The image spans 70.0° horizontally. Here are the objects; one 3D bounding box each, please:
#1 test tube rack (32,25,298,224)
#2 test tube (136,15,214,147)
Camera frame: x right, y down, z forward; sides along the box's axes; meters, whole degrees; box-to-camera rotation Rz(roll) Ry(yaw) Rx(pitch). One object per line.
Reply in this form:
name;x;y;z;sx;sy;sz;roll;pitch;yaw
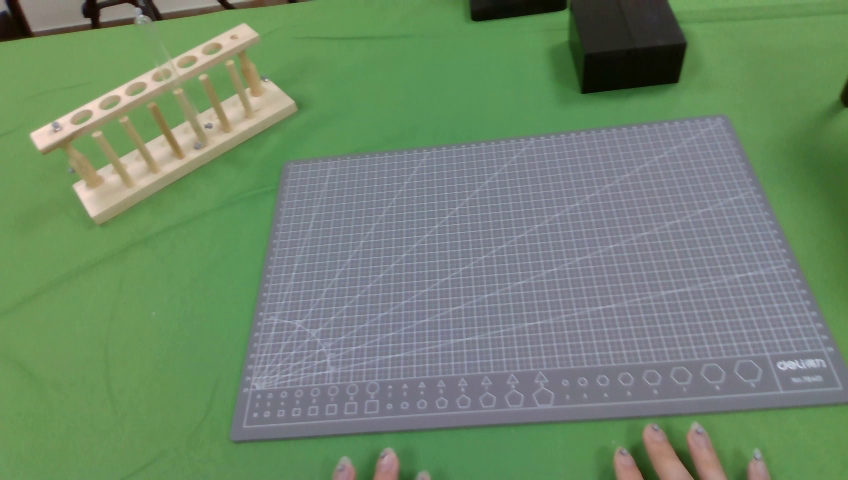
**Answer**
test tube rack;-0.263;-0.126;0.640;0.242;0.086;0.066;-35;55;-18
test tube;-0.244;-0.152;0.599;0.017;0.152;0.017;-4;50;5
